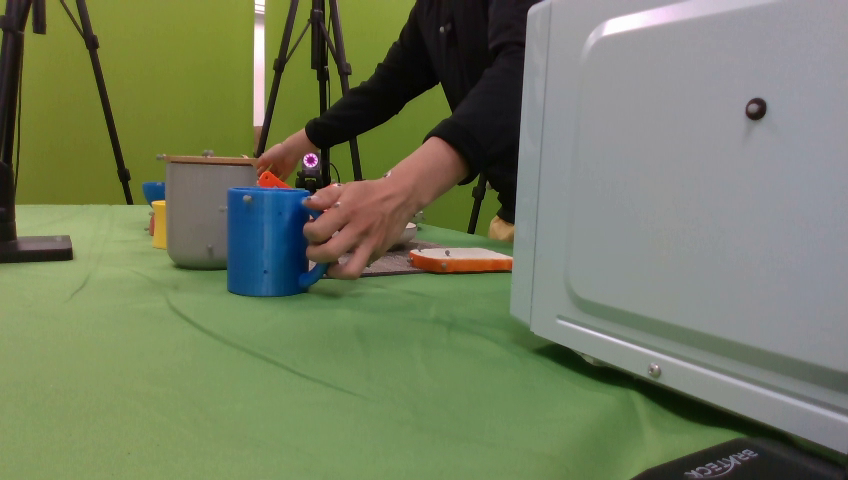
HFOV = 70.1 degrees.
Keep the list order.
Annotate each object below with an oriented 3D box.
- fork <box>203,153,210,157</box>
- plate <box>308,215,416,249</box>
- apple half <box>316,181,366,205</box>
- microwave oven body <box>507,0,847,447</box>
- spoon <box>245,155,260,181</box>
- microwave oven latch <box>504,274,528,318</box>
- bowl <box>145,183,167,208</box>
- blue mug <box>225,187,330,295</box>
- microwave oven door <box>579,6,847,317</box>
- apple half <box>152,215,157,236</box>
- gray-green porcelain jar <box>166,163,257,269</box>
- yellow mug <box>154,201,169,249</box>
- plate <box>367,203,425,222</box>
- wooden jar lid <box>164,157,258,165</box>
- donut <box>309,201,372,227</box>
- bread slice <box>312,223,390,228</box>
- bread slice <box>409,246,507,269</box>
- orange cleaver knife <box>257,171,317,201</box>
[{"bbox_3d":[-0.480,-0.135,1.411,0.028,0.018,0.207,1,-34,0],"label":"fork"},{"bbox_3d":[-0.116,-0.014,0.967,0.208,0.039,0.207,2,8,0],"label":"plate"},{"bbox_3d":[-0.128,-0.076,0.954,0.081,0.033,0.081,7,12,-1],"label":"apple half"},{"bbox_3d":[0.331,-0.042,0.425,0.444,0.260,0.324,-2,8,-31],"label":"microwave oven body"},{"bbox_3d":[-0.421,-0.150,1.540,0.042,0.193,0.021,-6,-34,-36],"label":"spoon"},{"bbox_3d":[0.100,0.041,0.471,0.079,0.029,0.030,-1,7,-27],"label":"microwave oven latch"},{"bbox_3d":[-0.459,-0.069,1.175,0.151,0.077,0.151,2,7,0],"label":"bowl"},{"bbox_3d":[-0.147,-0.001,0.622,0.116,0.106,0.082,5,8,23],"label":"blue mug"},{"bbox_3d":[0.294,-0.067,0.570,0.358,0.243,0.039,-3,9,-31],"label":"microwave oven door"},{"bbox_3d":[-0.415,-0.034,1.017,0.081,0.053,0.074,1,10,-9],"label":"apple half"},{"bbox_3d":[-0.263,-0.032,0.754,0.106,0.126,0.106,2,7,0],"label":"gray-green porcelain jar"},{"bbox_3d":[-0.337,-0.023,0.899,0.130,0.064,0.100,8,9,34],"label":"yellow mug"},{"bbox_3d":[-0.102,-0.053,1.299,0.209,0.038,0.209,2,8,0],"label":"plate"},{"bbox_3d":[-0.261,-0.093,0.746,0.108,0.020,0.108,1,9,0],"label":"wooden jar lid"},{"bbox_3d":[-0.132,-0.042,0.959,0.099,0.048,0.099,2,7,0],"label":"donut"},{"bbox_3d":[-0.120,-0.013,0.971,0.106,0.018,0.135,9,10,41],"label":"bread slice"},{"bbox_3d":[0.048,0.022,0.816,0.132,0.019,0.104,1,6,-24],"label":"bread slice"},{"bbox_3d":[-0.283,-0.087,1.343,0.212,0.077,0.012,23,-15,-40],"label":"orange cleaver knife"}]
